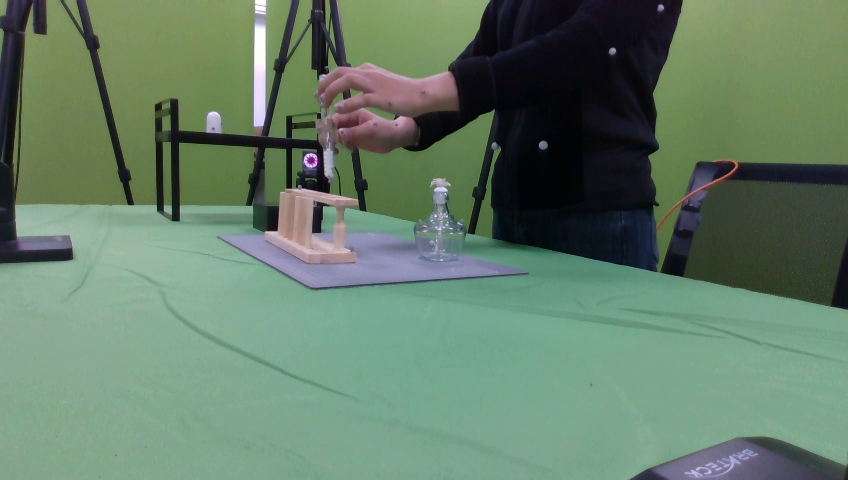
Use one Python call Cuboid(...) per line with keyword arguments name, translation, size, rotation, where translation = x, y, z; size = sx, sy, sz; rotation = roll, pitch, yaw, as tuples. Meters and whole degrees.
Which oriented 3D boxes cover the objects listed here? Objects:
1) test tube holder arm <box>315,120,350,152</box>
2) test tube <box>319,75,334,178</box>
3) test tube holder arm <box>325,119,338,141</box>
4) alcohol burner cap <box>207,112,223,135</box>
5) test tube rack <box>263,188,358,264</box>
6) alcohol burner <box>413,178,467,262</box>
Cuboid(name="test tube holder arm", translation=(-0.140, -0.161, 0.946), size=(0.013, 0.015, 0.178), rotation=(-2, -3, 5))
Cuboid(name="test tube", translation=(-0.142, -0.164, 0.878), size=(0.017, 0.150, 0.017), rotation=(-3, -3, 0))
Cuboid(name="test tube holder arm", translation=(-0.137, -0.163, 0.901), size=(0.010, 0.015, 0.088), rotation=(-2, -3, -2))
Cuboid(name="alcohol burner cap", translation=(-0.440, -0.245, 1.271), size=(0.034, 0.048, 0.034), rotation=(2, 7, 0))
Cuboid(name="test tube rack", translation=(-0.174, -0.028, 0.890), size=(0.067, 0.085, 0.241), rotation=(-1, 8, -28))
Cuboid(name="alcohol burner", translation=(0.023, -0.029, 0.864), size=(0.078, 0.119, 0.078), rotation=(1, 6, 0))
